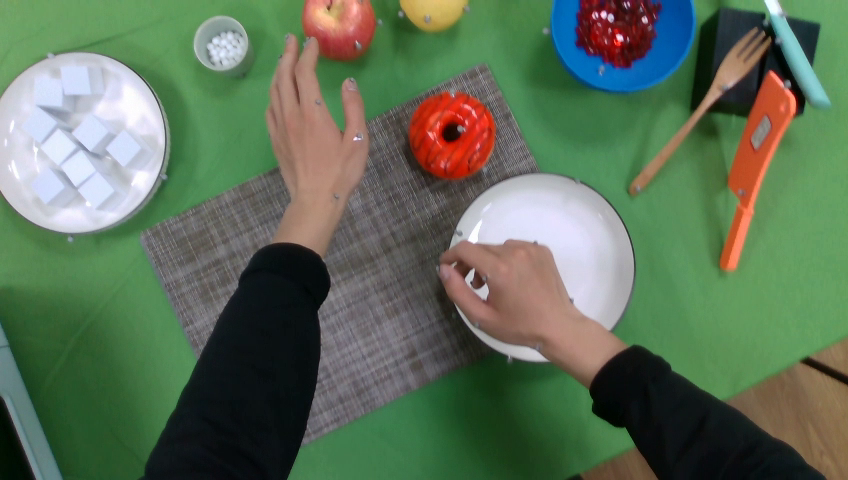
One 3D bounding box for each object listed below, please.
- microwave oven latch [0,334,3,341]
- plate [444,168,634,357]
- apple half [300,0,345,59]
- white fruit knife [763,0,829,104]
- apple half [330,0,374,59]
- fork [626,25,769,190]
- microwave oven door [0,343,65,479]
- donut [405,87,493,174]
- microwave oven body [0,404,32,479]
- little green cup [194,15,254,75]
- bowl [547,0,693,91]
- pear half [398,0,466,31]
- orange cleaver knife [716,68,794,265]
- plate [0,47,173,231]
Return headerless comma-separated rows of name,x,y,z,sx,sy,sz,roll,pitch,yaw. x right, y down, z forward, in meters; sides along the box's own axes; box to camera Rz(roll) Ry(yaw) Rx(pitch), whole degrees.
microwave oven latch,-0.504,0.082,0.676,0.030,0.029,0.079,-21,89,0
plate,0.126,0.025,0.678,0.209,0.038,0.209,0,89,2
apple half,-0.109,-0.248,0.676,0.053,0.075,0.081,24,92,6
white fruit knife,0.375,-0.237,0.643,0.027,0.016,0.207,-23,86,-28
apple half,-0.073,-0.234,0.673,0.033,0.081,0.081,23,89,6
fork,0.289,-0.137,0.656,0.028,0.018,0.208,34,110,-3
microwave oven door,-0.421,0.280,0.569,0.039,0.244,0.355,-24,88,1
donut,0.028,-0.122,0.679,0.099,0.048,0.099,0,90,4
microwave oven body,-0.572,0.300,0.577,0.326,0.260,0.441,-24,89,0
little green cup,-0.227,-0.220,0.695,0.061,0.038,0.061,0,88,2
bowl,0.205,-0.230,0.665,0.151,0.077,0.151,0,89,1
pear half,0.006,-0.263,0.655,0.076,0.110,0.056,6,87,6
orange cleaver knife,0.348,-0.075,0.656,0.012,0.076,0.213,5,118,0
plate,-0.388,-0.113,0.697,0.207,0.039,0.207,0,89,2
